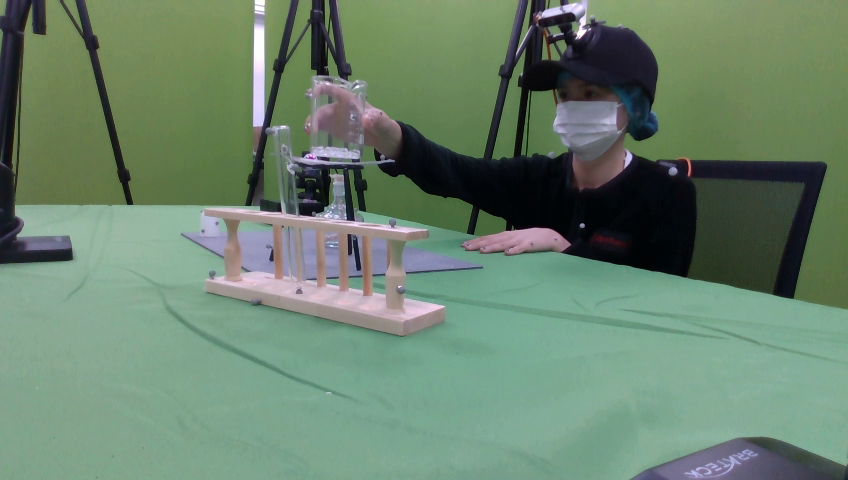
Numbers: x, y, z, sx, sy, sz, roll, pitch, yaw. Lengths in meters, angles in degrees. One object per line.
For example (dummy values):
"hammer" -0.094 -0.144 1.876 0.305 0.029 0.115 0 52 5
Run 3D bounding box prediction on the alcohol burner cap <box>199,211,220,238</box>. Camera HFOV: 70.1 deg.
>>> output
"alcohol burner cap" -0.355 -0.027 1.002 0.034 0.048 0.034 2 7 0

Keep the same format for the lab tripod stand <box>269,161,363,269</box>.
"lab tripod stand" -0.125 -0.036 0.794 0.148 0.131 0.148 5 7 0

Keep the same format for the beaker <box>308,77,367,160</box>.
"beaker" -0.113 -0.156 0.789 0.074 0.100 0.083 0 9 -29

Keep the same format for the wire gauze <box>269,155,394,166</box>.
"wire gauze" -0.122 -0.102 0.785 0.122 0.011 0.124 -3 10 -38

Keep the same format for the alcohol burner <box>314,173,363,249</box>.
"alcohol burner" -0.135 -0.046 0.953 0.078 0.119 0.078 1 9 0

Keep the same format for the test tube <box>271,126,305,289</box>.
"test tube" -0.124 -0.028 0.554 0.017 0.150 0.017 -5 7 1

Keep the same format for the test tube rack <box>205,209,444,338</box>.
"test tube rack" -0.100 0.021 0.565 0.241 0.085 0.067 7 9 32
